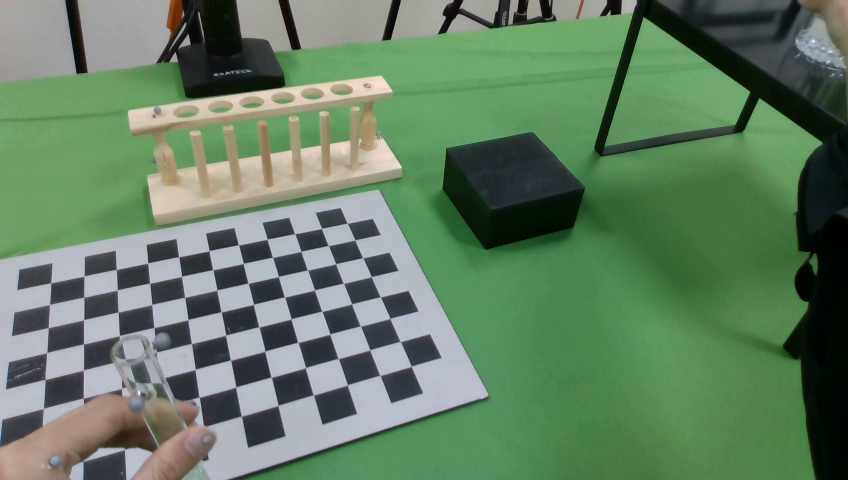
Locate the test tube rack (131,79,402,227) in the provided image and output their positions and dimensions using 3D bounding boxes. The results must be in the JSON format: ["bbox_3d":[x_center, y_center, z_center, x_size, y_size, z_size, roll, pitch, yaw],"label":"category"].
[{"bbox_3d":[-0.144,-0.089,0.594,0.243,0.086,0.066,-13,45,-19],"label":"test tube rack"}]

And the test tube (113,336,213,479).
[{"bbox_3d":[-0.118,0.101,0.293,0.017,0.151,0.017,0,40,0],"label":"test tube"}]

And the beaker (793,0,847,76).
[{"bbox_3d":[0.343,-0.188,0.472,0.074,0.101,0.083,-27,50,-31],"label":"beaker"}]
